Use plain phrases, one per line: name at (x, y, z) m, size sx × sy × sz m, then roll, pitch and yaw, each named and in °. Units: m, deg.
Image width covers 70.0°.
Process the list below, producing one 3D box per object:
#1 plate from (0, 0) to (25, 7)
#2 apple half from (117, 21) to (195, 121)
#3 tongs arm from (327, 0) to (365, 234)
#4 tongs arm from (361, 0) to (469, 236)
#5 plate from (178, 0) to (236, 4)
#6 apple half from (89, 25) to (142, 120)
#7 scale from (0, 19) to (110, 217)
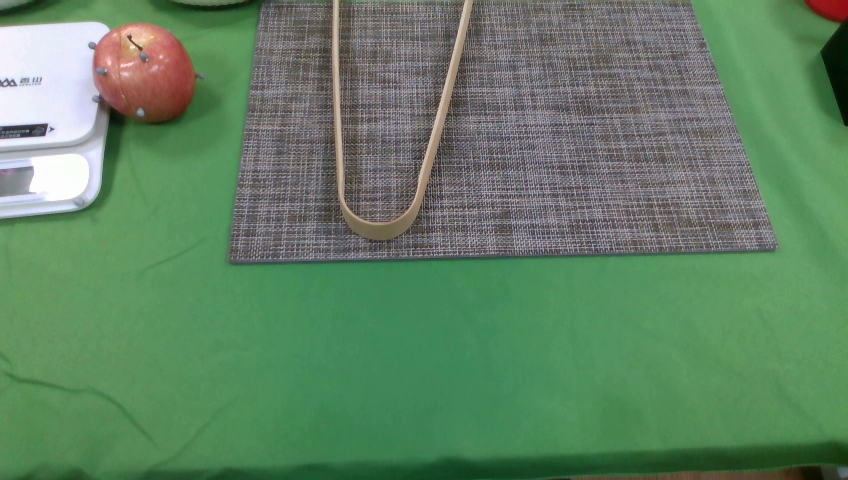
plate at (-0.443, -0.310, 0.632) m, size 0.208 × 0.039 × 0.206 m, roll 1°, pitch 61°, yaw -1°
apple half at (-0.229, -0.147, 0.530) m, size 0.053 × 0.075 × 0.080 m, roll -9°, pitch 58°, yaw -10°
tongs arm at (-0.078, -0.177, 0.573) m, size 0.028 × 0.028 × 0.384 m, roll -2°, pitch 62°, yaw -7°
tongs arm at (0.007, -0.172, 0.571) m, size 0.051 × 0.027 × 0.382 m, roll 9°, pitch 62°, yaw 3°
plate at (-0.217, -0.320, 0.645) m, size 0.209 × 0.038 × 0.207 m, roll 1°, pitch 61°, yaw -1°
apple half at (-0.267, -0.140, 0.523) m, size 0.033 × 0.082 × 0.080 m, roll -9°, pitch 62°, yaw -10°
scale at (-0.353, -0.111, 0.529) m, size 0.149 × 0.032 × 0.199 m, roll -6°, pitch 62°, yaw -5°
